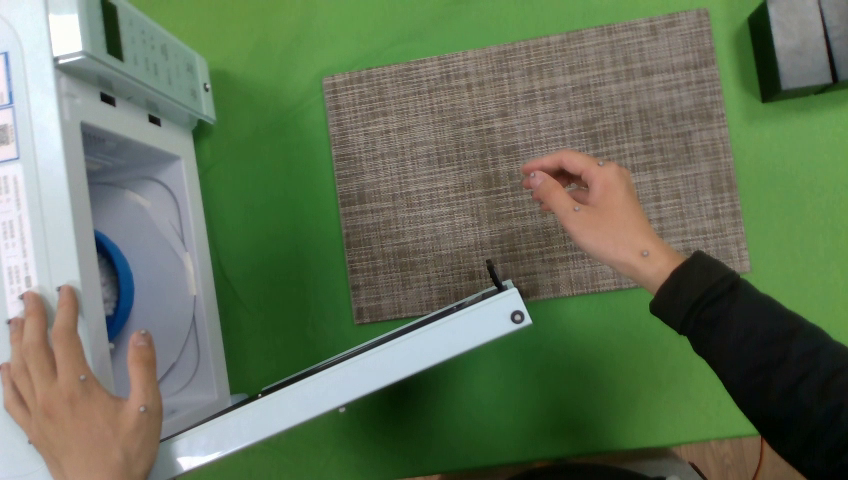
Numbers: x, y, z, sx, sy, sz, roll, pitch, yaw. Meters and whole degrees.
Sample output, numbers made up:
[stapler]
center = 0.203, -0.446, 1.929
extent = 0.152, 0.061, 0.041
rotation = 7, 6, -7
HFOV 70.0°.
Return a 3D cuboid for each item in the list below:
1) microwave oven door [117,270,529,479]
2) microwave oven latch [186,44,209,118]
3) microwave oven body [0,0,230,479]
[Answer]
[microwave oven door]
center = -0.070, 0.120, 0.582
extent = 0.356, 0.244, 0.039
rotation = -25, 85, 6
[microwave oven latch]
center = -0.276, -0.187, 0.714
extent = 0.030, 0.029, 0.079
rotation = -10, 88, 6
[microwave oven body]
center = -0.402, 0.011, 0.628
extent = 0.326, 0.260, 0.441
rotation = -11, 88, 6
